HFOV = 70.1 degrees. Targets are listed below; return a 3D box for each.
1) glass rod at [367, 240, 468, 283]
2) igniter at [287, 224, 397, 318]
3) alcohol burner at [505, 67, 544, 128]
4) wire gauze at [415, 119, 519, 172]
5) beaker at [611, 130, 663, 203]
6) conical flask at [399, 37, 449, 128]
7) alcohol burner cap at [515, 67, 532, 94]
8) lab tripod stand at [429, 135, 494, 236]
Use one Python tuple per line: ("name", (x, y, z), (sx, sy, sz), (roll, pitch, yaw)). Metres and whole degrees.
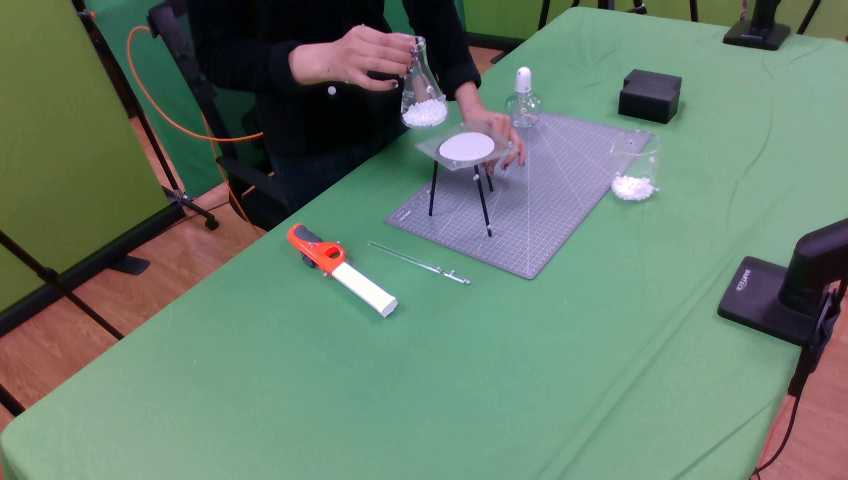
("glass rod", (-0.015, 0.032, 0.959), (0.198, 0.008, 0.008), (21, 49, 30))
("igniter", (-0.139, 0.042, 0.958), (0.057, 0.025, 0.274), (-42, 49, -19))
("alcohol burner", (0.201, -0.288, 1.211), (0.078, 0.119, 0.077), (-6, 38, 5))
("wire gauze", (0.066, -0.148, 0.950), (0.125, 0.011, 0.120), (-23, 40, -17))
("beaker", (0.346, -0.118, 0.998), (0.084, 0.101, 0.073), (-17, 40, -7))
("conical flask", (-0.007, -0.231, 0.883), (0.075, 0.122, 0.075), (-7, 39, 6))
("alcohol burner cap", (0.197, -0.315, 1.187), (0.034, 0.048, 0.033), (-3, 47, 3))
("lab tripod stand", (0.072, -0.096, 0.993), (0.148, 0.132, 0.147), (-6, 38, 5))
